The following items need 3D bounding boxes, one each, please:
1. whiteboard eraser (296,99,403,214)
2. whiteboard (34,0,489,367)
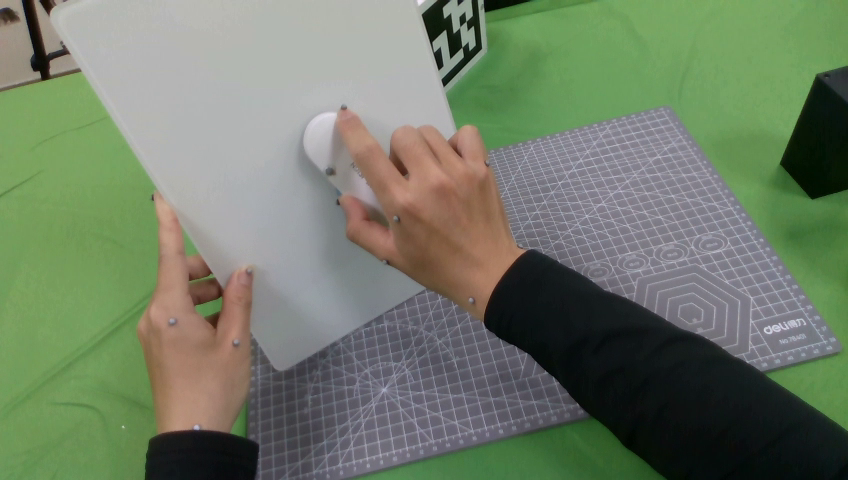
[{"bbox_3d":[-0.053,-0.060,0.445,0.041,0.102,0.018,-43,34,-4],"label":"whiteboard eraser"},{"bbox_3d":[-0.107,-0.093,0.495,0.217,0.308,0.142,-30,34,-12],"label":"whiteboard"}]
